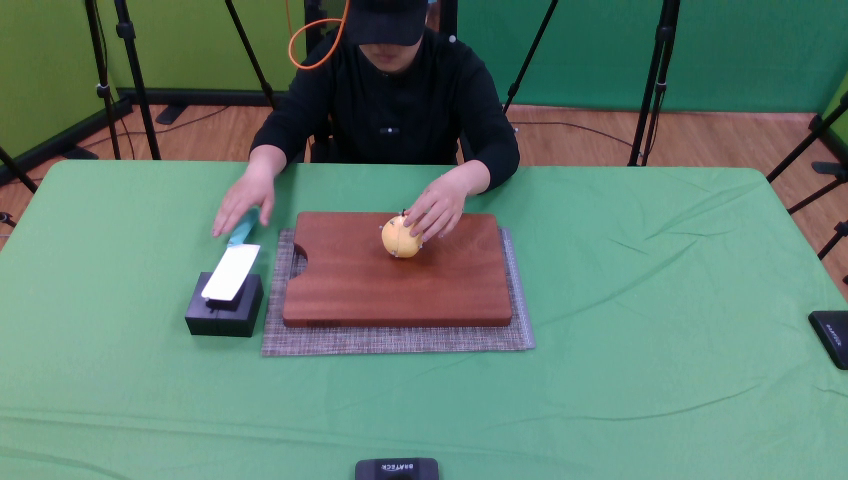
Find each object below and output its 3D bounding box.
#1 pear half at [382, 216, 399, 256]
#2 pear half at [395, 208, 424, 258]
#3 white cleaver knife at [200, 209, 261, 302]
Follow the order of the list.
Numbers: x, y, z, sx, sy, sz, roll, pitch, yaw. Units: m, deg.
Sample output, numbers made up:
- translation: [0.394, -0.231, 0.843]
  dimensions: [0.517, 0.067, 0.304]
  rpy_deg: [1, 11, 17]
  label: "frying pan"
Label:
- translation: [-0.062, -0.010, 1.116]
  dimensions: [0.031, 0.088, 0.070]
  rpy_deg: [-6, 55, -9]
  label: "pear half"
- translation: [-0.027, -0.018, 1.114]
  dimensions: [0.056, 0.110, 0.076]
  rpy_deg: [-6, 51, -9]
  label: "pear half"
- translation: [-0.338, 0.025, 1.117]
  dimensions: [0.066, 0.021, 0.285]
  rpy_deg: [8, 35, -4]
  label: "white cleaver knife"
